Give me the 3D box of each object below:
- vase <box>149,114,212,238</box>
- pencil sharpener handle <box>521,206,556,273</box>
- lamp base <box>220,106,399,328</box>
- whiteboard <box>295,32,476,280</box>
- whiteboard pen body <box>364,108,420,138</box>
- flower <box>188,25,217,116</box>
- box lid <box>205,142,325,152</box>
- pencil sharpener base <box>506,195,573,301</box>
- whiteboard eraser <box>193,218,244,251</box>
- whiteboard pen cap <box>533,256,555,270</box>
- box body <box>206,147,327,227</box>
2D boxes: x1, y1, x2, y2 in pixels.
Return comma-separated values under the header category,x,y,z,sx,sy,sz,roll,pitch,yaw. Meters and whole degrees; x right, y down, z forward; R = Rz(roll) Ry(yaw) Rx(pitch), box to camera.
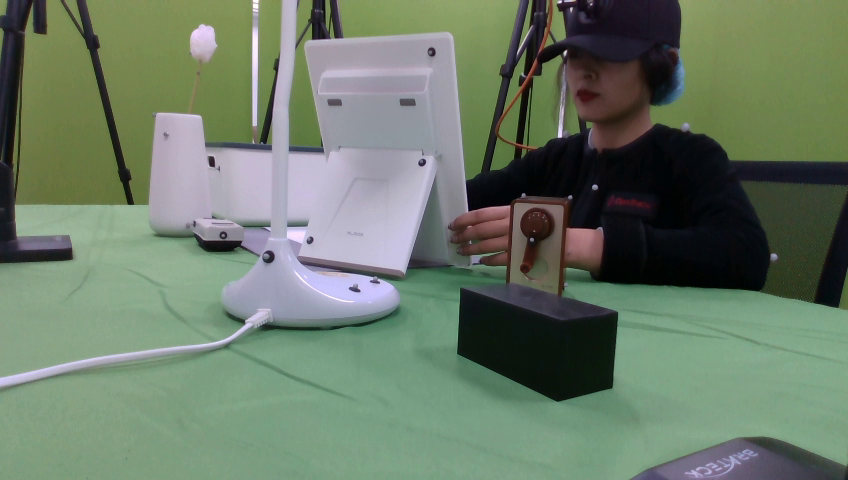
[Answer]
category,x,y,z,sx,sy,sz,roll,pitch,yaw
vase,-0.405,-0.106,1.005,0.098,0.200,0.098,2,6,0
pencil sharpener handle,0.111,0.000,0.612,0.036,0.067,0.031,13,10,14
lamp base,-0.101,-0.023,0.531,0.160,0.180,0.179,4,10,10
whiteboard,-0.076,-0.084,0.747,0.216,0.305,0.144,7,28,29
whiteboard pen body,-0.044,-0.165,0.849,0.017,0.017,0.141,6,-1,28
flower,-0.394,-0.189,1.011,0.044,0.361,0.038,-1,-13,27
box lid,-0.270,-0.196,1.310,0.373,0.015,0.262,-2,9,-30
pencil sharpener base,0.127,0.007,0.662,0.061,0.107,0.077,5,8,15
whiteboard eraser,-0.307,-0.009,0.900,0.056,0.042,0.112,-4,10,-28
whiteboard pen cap,0.166,0.032,0.839,0.018,0.018,0.033,-1,5,-23
box body,-0.276,-0.122,1.320,0.366,0.160,0.253,-2,9,-30
